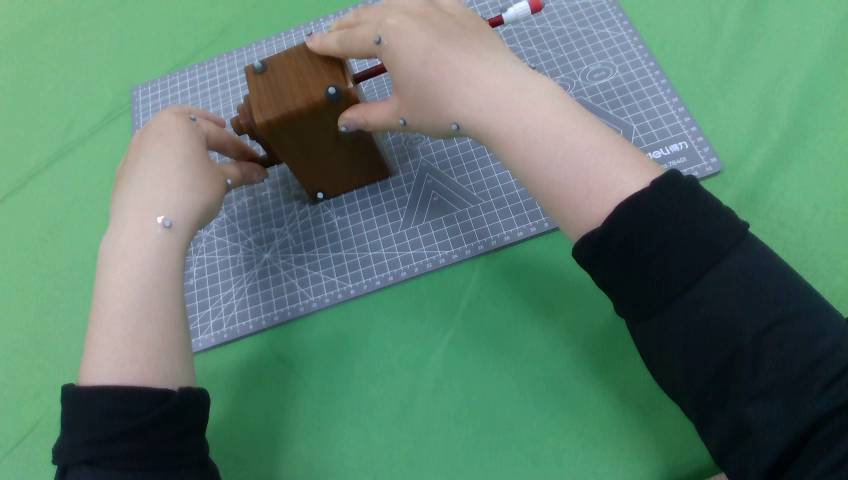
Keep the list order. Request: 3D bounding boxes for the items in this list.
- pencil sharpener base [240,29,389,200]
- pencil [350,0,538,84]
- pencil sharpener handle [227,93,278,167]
[{"bbox_3d":[-0.080,-0.088,0.453,0.077,0.108,0.061,-22,60,3],"label":"pencil sharpener base"},{"bbox_3d":[-0.011,-0.129,0.425,0.194,0.012,0.012,-22,61,3],"label":"pencil"},{"bbox_3d":[-0.131,-0.076,0.445,0.030,0.068,0.035,-22,67,3],"label":"pencil sharpener handle"}]
